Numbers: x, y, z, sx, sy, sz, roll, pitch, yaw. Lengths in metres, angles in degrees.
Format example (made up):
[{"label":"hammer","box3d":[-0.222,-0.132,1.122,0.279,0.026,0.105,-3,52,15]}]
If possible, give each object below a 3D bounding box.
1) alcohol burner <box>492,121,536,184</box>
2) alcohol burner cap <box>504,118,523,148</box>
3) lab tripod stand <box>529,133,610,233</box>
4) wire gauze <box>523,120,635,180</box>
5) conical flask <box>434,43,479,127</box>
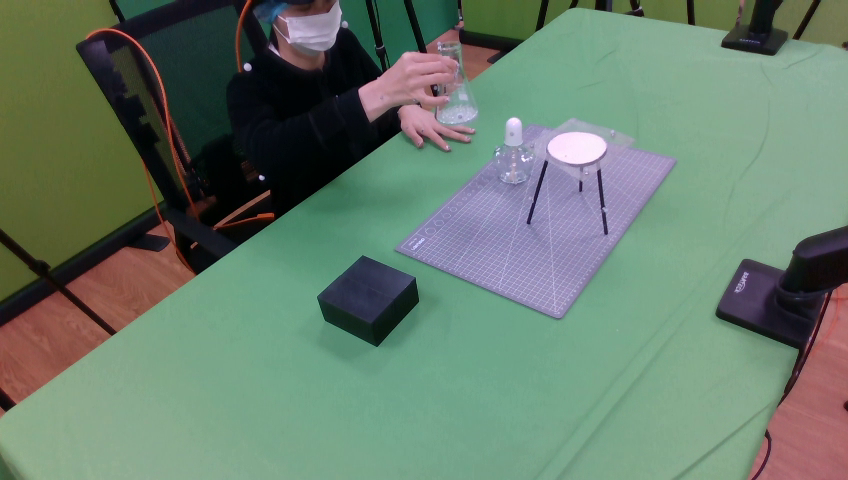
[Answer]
[{"label":"alcohol burner","box3d":[0.159,-0.158,1.064,0.078,0.119,0.077,-3,41,3]},{"label":"alcohol burner cap","box3d":[0.154,-0.186,1.042,0.034,0.048,0.033,-4,33,3]},{"label":"lab tripod stand","box3d":[0.236,-0.089,0.953,0.148,0.132,0.147,-5,42,5]},{"label":"wire gauze","box3d":[0.233,-0.143,0.913,0.122,0.011,0.124,-32,45,-25]},{"label":"conical flask","box3d":[0.046,-0.249,0.966,0.075,0.122,0.075,-6,33,4]}]
